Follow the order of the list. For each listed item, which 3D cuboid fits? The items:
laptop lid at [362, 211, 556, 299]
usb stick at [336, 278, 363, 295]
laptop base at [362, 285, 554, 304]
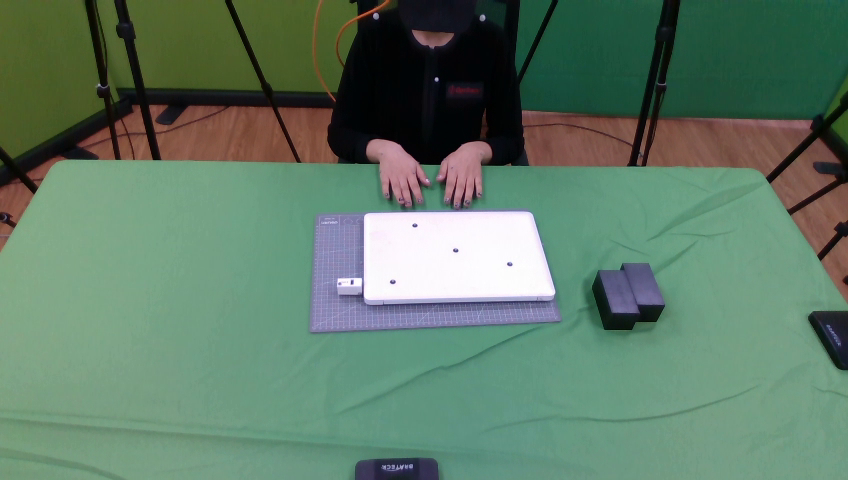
[{"bbox_3d":[0.059,0.022,1.167,0.357,0.013,0.240,0,44,-4],"label":"laptop lid"},{"bbox_3d":[-0.128,0.083,1.094,0.059,0.027,0.021,2,44,-5],"label":"usb stick"},{"bbox_3d":[0.059,0.032,1.174,0.355,0.023,0.234,-1,43,-5],"label":"laptop base"}]
